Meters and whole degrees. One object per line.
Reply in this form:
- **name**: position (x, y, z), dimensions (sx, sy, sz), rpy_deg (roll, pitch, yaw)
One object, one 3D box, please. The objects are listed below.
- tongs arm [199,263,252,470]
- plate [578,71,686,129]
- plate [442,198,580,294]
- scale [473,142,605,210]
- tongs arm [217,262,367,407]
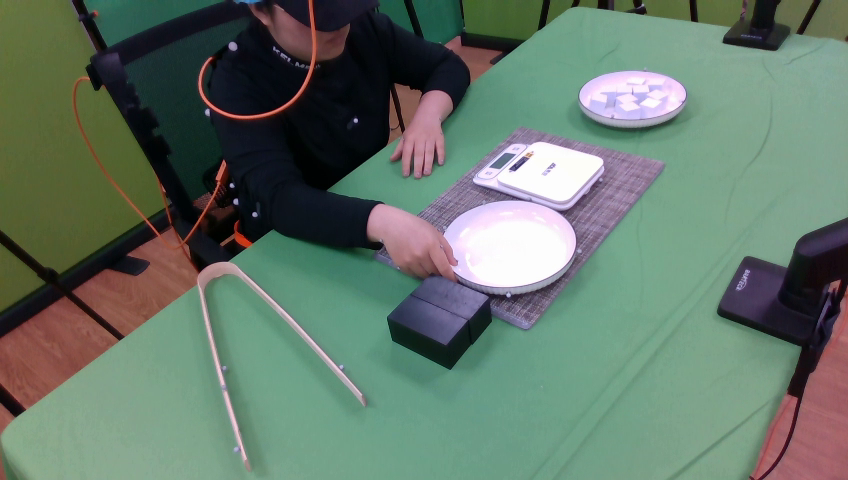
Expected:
- **tongs arm**: position (-0.269, 0.154, 0.841), dimensions (0.051, 0.026, 0.381), rpy_deg (-23, 41, -17)
- **plate**: position (0.416, -0.279, 1.222), dimensions (0.209, 0.038, 0.208), rpy_deg (-5, 41, 5)
- **plate**: position (0.132, 0.012, 0.926), dimensions (0.207, 0.039, 0.206), rpy_deg (-5, 40, 5)
- **scale**: position (0.202, -0.121, 1.074), dimensions (0.199, 0.032, 0.149), rpy_deg (23, 49, 33)
- **tongs arm**: position (-0.200, 0.122, 0.871), dimensions (0.028, 0.028, 0.384), rpy_deg (-36, 46, -24)
